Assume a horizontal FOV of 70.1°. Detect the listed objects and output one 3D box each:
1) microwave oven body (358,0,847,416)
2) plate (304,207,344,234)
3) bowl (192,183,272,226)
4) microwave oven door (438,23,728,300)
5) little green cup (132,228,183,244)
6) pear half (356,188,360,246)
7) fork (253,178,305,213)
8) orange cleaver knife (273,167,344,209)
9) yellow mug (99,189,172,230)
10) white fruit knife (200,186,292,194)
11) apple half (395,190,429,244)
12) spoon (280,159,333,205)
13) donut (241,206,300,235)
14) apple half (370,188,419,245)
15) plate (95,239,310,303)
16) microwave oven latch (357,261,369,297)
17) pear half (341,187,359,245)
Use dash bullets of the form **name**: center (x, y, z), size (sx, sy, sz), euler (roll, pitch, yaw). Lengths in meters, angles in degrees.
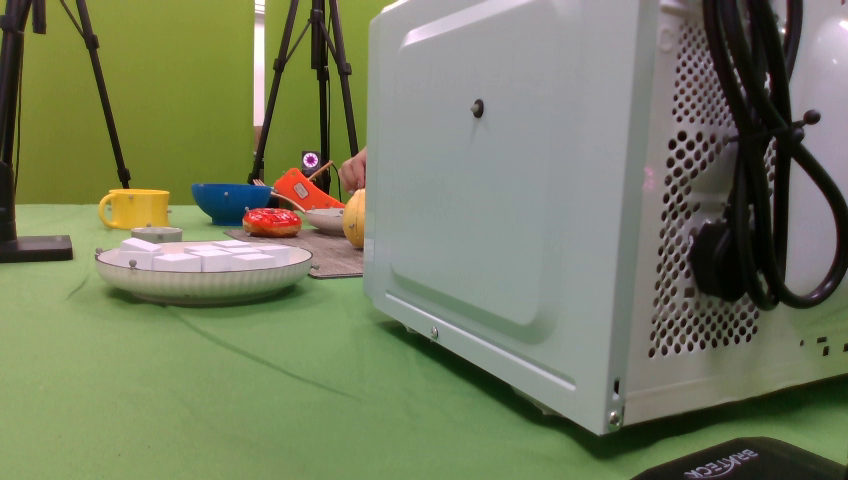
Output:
- **microwave oven body**: center (0.211, -0.047, 0.474), size (0.444, 0.260, 0.324), euler (-1, 7, -28)
- **plate**: center (-0.123, -0.037, 1.149), size (0.209, 0.038, 0.209), euler (2, 7, 0)
- **bowl**: center (-0.381, -0.071, 1.202), size (0.151, 0.077, 0.151), euler (3, 7, 0)
- **microwave oven door**: center (0.181, -0.072, 0.621), size (0.358, 0.243, 0.039), euler (-2, 8, -29)
- **little green cup**: center (-0.342, 0.006, 0.779), size (0.061, 0.038, 0.061), euler (2, 8, 0)
- **pear half**: center (-0.077, -0.047, 0.922), size (0.056, 0.110, 0.076), euler (-5, 11, -4)
- **fork**: center (-0.294, -0.084, 1.293), size (0.206, 0.018, 0.028), euler (29, 13, 26)
- **orange cleaver knife**: center (-0.237, -0.087, 1.358), size (0.211, 0.077, 0.012), euler (32, 4, -3)
- **yellow mug**: center (-0.518, -0.055, 1.080), size (0.099, 0.064, 0.131), euler (6, 9, 26)
- **white fruit knife**: center (-0.399, -0.111, 1.368), size (0.208, 0.016, 0.027), euler (-4, -19, -29)
- **apple half**: center (-0.013, -0.034, 0.856), size (0.033, 0.081, 0.081), euler (-4, 10, -29)
- **spoon**: center (-0.316, -0.158, 1.639), size (0.194, 0.022, 0.041), euler (-49, 32, -20)
- **donut**: center (-0.263, -0.032, 1.039), size (0.099, 0.048, 0.099), euler (4, 10, 0)
- **apple half**: center (-0.047, -0.033, 0.837), size (0.053, 0.074, 0.080), euler (-4, 21, -28)
- **plate**: center (-0.224, 0.031, 0.629), size (0.208, 0.039, 0.207), euler (2, 8, 0)
- **microwave oven latch**: center (-0.019, 0.033, 0.530), size (0.079, 0.029, 0.030), euler (-1, 7, -26)
- **pear half**: center (-0.112, -0.036, 0.922), size (0.031, 0.088, 0.070), euler (-2, 12, -5)
